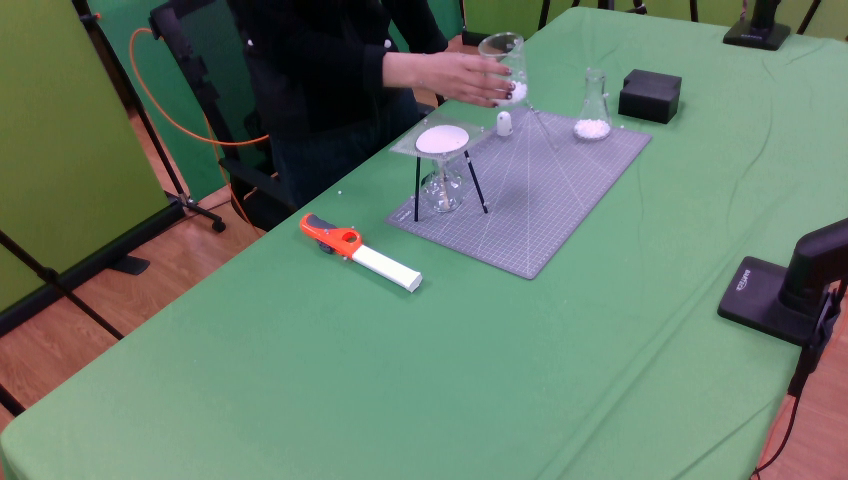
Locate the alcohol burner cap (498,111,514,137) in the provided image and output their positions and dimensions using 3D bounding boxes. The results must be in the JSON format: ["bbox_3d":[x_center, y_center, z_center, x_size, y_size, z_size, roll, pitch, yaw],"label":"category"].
[{"bbox_3d":[0.163,-0.235,1.211,0.034,0.048,0.033,-6,40,6],"label":"alcohol burner cap"}]

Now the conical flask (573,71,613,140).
[{"bbox_3d":[0.321,-0.256,1.142,0.075,0.122,0.075,-5,40,5],"label":"conical flask"}]

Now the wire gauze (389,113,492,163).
[{"bbox_3d":[0.026,-0.164,0.977,0.120,0.011,0.125,24,49,35],"label":"wire gauze"}]

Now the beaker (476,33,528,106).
[{"bbox_3d":[0.136,-0.283,1.015,0.074,0.101,0.083,-32,44,-14],"label":"beaker"}]

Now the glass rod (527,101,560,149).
[{"bbox_3d":[0.240,-0.236,1.223,0.008,0.008,0.198,-12,40,-2],"label":"glass rod"}]

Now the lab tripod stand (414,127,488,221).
[{"bbox_3d":[0.035,-0.114,1.021,0.148,0.132,0.147,-7,39,6],"label":"lab tripod stand"}]

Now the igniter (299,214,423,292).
[{"bbox_3d":[-0.112,0.016,0.983,0.274,0.025,0.057,26,62,35],"label":"igniter"}]

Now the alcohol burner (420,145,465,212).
[{"bbox_3d":[0.030,-0.108,1.030,0.078,0.119,0.077,-5,38,4],"label":"alcohol burner"}]
